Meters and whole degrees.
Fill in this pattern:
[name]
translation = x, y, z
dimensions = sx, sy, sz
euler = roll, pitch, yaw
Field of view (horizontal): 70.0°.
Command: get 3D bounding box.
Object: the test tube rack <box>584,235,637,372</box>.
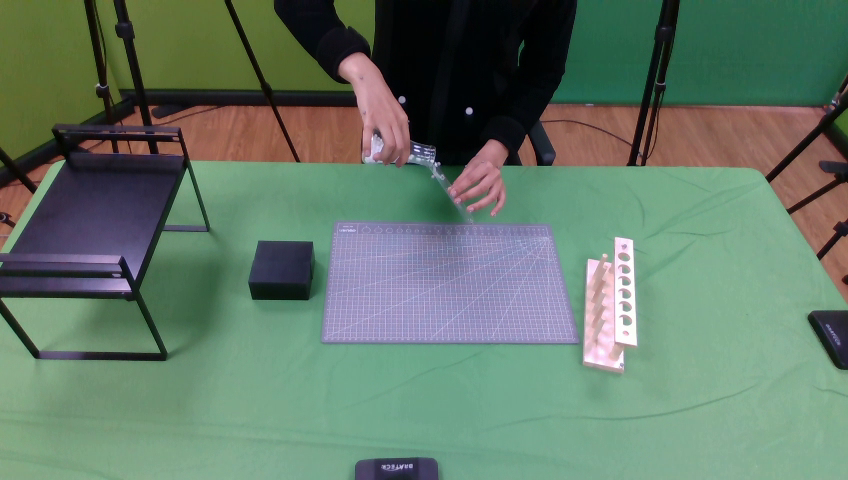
[test tube rack]
translation = 0.329, 0.103, 1.073
dimensions = 0.067, 0.085, 0.241
euler = 10, 47, 7

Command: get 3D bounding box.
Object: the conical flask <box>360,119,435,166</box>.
[conical flask]
translation = -0.043, -0.158, 1.034
dimensions = 0.122, 0.075, 0.075
euler = 11, 45, -13

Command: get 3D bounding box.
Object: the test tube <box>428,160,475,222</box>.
[test tube]
translation = 0.052, -0.086, 1.097
dimensions = 0.017, 0.151, 0.017
euler = -25, 35, 19
